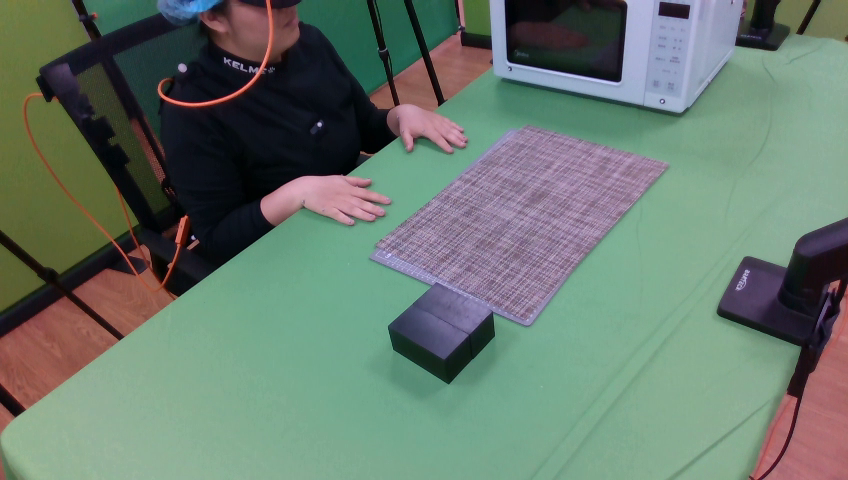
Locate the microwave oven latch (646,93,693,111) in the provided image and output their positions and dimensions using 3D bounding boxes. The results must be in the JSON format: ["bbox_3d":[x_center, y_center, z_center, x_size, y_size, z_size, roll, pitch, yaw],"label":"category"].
[{"bbox_3d":[0.477,-0.273,1.177,0.078,0.029,0.030,22,50,33],"label":"microwave oven latch"}]

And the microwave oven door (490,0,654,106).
[{"bbox_3d":[0.292,-0.420,1.228,0.353,0.245,0.039,22,49,32],"label":"microwave oven door"}]

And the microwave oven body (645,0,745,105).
[{"bbox_3d":[0.416,-0.486,1.290,0.438,0.261,0.327,21,50,33],"label":"microwave oven body"}]

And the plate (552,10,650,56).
[{"bbox_3d":[0.390,-0.454,1.339,0.209,0.038,0.208,-5,39,5],"label":"plate"}]

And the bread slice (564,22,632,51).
[{"bbox_3d":[0.394,-0.453,1.344,0.105,0.019,0.130,-36,42,-26],"label":"bread slice"}]
